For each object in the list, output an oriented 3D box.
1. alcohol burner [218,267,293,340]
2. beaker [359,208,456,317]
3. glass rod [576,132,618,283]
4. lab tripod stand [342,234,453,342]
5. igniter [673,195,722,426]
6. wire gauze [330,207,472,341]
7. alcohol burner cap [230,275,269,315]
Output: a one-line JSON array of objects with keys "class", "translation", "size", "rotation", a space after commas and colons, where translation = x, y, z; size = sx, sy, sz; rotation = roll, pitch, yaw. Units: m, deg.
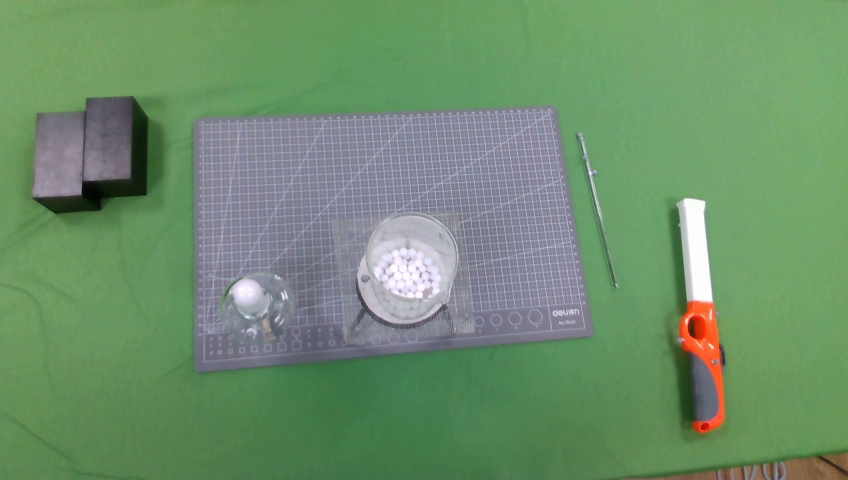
[{"class": "alcohol burner", "translation": [-0.176, 0.061, 0.624], "size": [0.078, 0.119, 0.077], "rotation": [2, 72, -6]}, {"class": "beaker", "translation": [-0.014, 0.026, 0.523], "size": [0.074, 0.100, 0.083], "rotation": [-36, 80, -14]}, {"class": "glass rod", "translation": [0.215, -0.043, 0.753], "size": [0.008, 0.008, 0.198], "rotation": [-8, 76, -9]}, {"class": "lab tripod stand", "translation": [-0.029, 0.051, 0.633], "size": [0.148, 0.132, 0.147], "rotation": [1, 74, -4]}, {"class": "igniter", "translation": [0.324, 0.079, 0.723], "size": [0.057, 0.025, 0.275], "rotation": [7, 74, -16]}, {"class": "wire gauze", "translation": [-0.022, 0.030, 0.571], "size": [0.125, 0.011, 0.120], "rotation": [-5, 73, -5]}, {"class": "alcohol burner cap", "translation": [-0.172, 0.052, 0.590], "size": [0.034, 0.048, 0.033], "rotation": [1, 70, -4]}]
